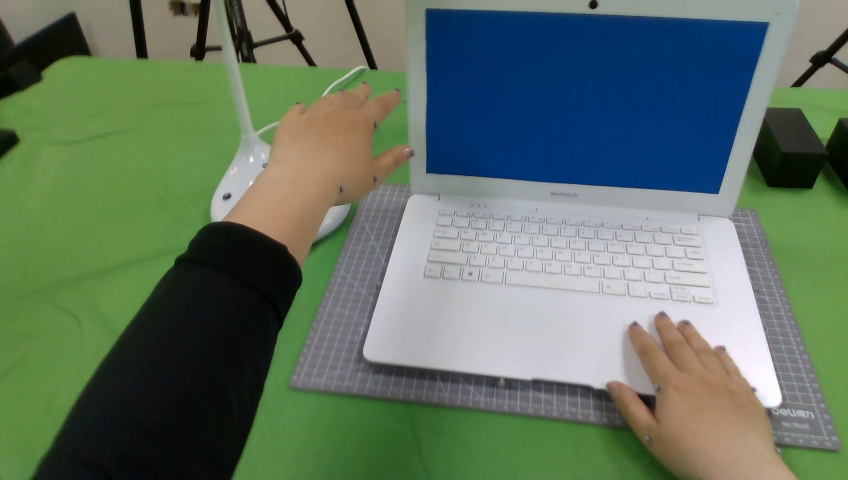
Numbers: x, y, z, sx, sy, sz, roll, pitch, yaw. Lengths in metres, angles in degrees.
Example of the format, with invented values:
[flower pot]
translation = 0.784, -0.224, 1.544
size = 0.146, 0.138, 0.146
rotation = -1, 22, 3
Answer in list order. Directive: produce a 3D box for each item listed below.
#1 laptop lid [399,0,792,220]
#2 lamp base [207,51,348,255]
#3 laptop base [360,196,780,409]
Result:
[laptop lid]
translation = 0.151, -0.129, 0.614
size = 0.356, 0.244, 0.013
rotation = 3, 35, 9
[lamp base]
translation = -0.180, -0.102, 0.659
size = 0.160, 0.182, 0.177
rotation = -32, 47, -28
[laptop base]
translation = 0.133, 0.049, 0.595
size = 0.354, 0.023, 0.233
rotation = 5, 46, 8
